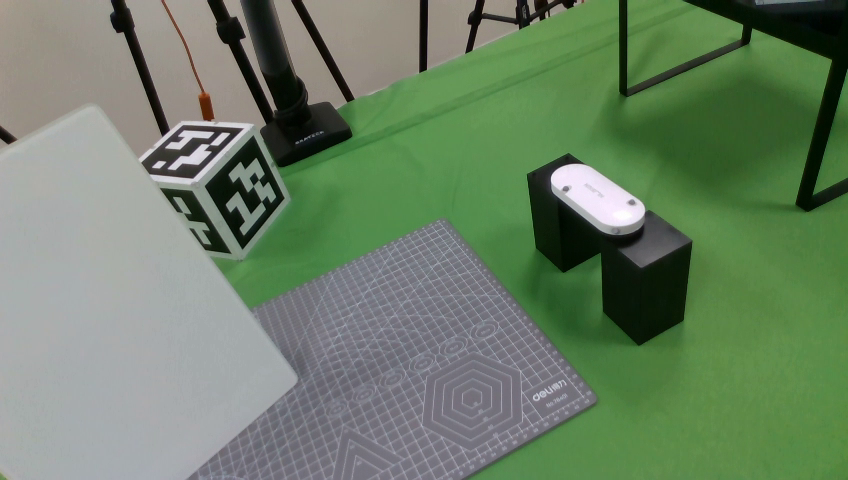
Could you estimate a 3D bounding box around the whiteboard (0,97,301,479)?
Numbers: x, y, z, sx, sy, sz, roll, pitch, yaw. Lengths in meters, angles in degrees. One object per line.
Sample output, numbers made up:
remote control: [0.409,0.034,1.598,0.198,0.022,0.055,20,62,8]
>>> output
whiteboard: [-0.296,0.067,0.530,0.217,0.308,0.143,-41,28,-24]

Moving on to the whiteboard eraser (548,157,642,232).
whiteboard eraser: [0.147,-0.043,0.529,0.041,0.019,0.100,-26,44,-13]
